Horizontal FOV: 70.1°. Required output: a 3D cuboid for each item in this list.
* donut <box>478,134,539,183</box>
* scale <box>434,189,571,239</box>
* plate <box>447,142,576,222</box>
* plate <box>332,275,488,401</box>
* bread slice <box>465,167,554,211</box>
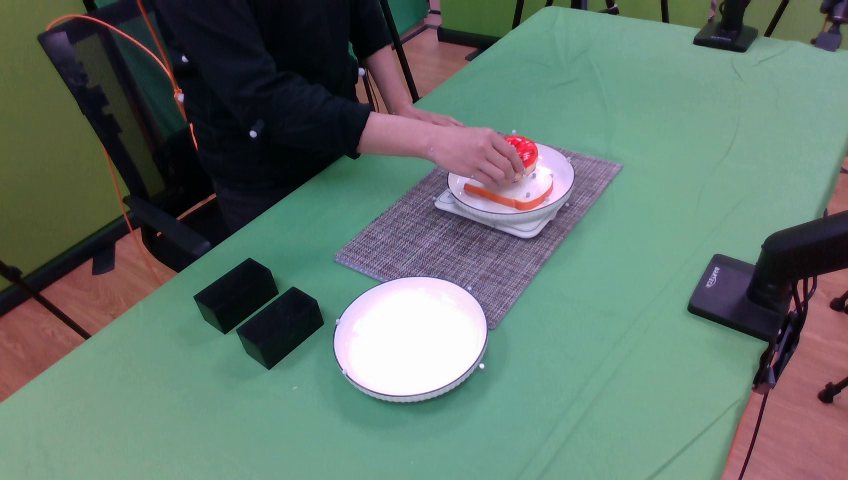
[{"bbox_3d":[0.134,-0.131,0.966,0.099,0.048,0.098,-10,42,9],"label":"donut"},{"bbox_3d":[0.132,-0.075,1.025,0.199,0.032,0.149,22,48,30],"label":"scale"},{"bbox_3d":[0.143,-0.094,0.995,0.209,0.038,0.208,-4,41,4],"label":"plate"},{"bbox_3d":[-0.017,0.131,0.808,0.207,0.039,0.206,-4,41,4],"label":"plate"},{"bbox_3d":[0.149,-0.095,0.999,0.130,0.019,0.105,25,52,33],"label":"bread slice"}]
